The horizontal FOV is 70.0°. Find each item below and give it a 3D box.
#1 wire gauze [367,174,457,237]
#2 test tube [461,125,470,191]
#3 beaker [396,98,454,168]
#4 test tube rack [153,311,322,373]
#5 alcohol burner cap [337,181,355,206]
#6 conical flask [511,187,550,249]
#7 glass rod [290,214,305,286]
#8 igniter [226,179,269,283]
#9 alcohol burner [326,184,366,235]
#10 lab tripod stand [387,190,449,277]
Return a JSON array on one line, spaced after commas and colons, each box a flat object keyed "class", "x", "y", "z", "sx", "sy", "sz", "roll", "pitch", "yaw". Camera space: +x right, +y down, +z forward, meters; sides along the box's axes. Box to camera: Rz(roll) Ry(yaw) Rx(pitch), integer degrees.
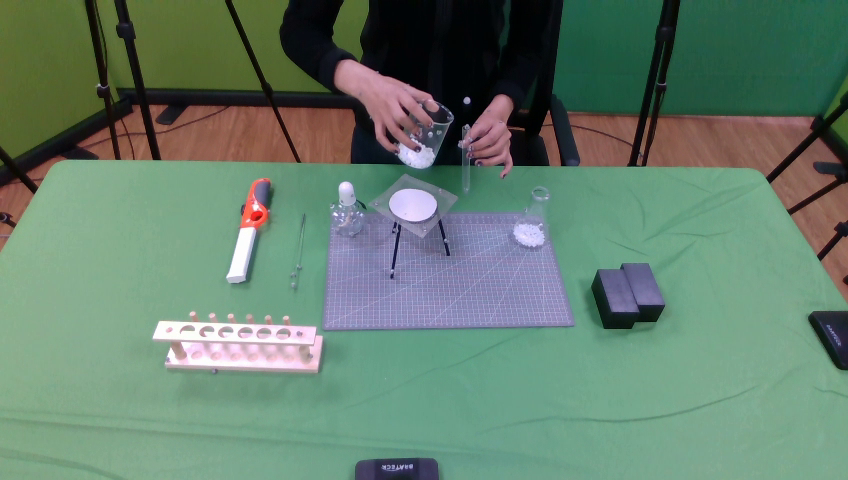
[{"class": "wire gauze", "x": -0.021, "y": -0.067, "z": 1.088, "sx": 0.124, "sy": 0.011, "sz": 0.121, "roll": 28, "pitch": 49, "yaw": 21}, {"class": "test tube", "x": 0.077, "y": -0.148, "z": 1.121, "sx": 0.017, "sy": 0.151, "sz": 0.017, "roll": -1, "pitch": 47, "yaw": 2}, {"class": "beaker", "x": 0.000, "y": -0.180, "z": 1.035, "sx": 0.084, "sy": 0.100, "sz": 0.073, "roll": -2, "pitch": 46, "yaw": -31}, {"class": "test tube rack", "x": -0.293, "y": 0.160, "z": 0.978, "sx": 0.242, "sy": 0.085, "sz": 0.066, "roll": 3, "pitch": 46, "yaw": -2}, {"class": "alcohol burner cap", "x": -0.151, "y": -0.090, "z": 1.157, "sx": 0.034, "sy": 0.048, "sz": 0.033, "roll": 0, "pitch": 52, "yaw": 0}, {"class": "conical flask", "x": 0.217, "y": -0.048, "z": 1.190, "sx": 0.075, "sy": 0.122, "sz": 0.075, "roll": 2, "pitch": 46, "yaw": -2}, {"class": "glass rod", "x": -0.245, "y": 0.015, "z": 1.176, "sx": 0.008, "sy": 0.008, "sz": 0.198, "roll": 1, "pitch": 43, "yaw": -3}, {"class": "igniter", "x": -0.345, "y": -0.027, "z": 1.195, "sx": 0.057, "sy": 0.025, "sz": 0.274, "roll": -6, "pitch": 46, "yaw": 5}, {"class": "alcohol burner", "x": -0.152, "y": -0.066, "z": 1.184, "sx": 0.078, "sy": 0.119, "sz": 0.077, "roll": 4, "pitch": 46, "yaw": -4}, {"class": "lab tripod stand", "x": -0.021, "y": -0.018, "z": 1.135, "sx": 0.148, "sy": 0.132, "sz": 0.147, "roll": 3, "pitch": 44, "yaw": -3}]
